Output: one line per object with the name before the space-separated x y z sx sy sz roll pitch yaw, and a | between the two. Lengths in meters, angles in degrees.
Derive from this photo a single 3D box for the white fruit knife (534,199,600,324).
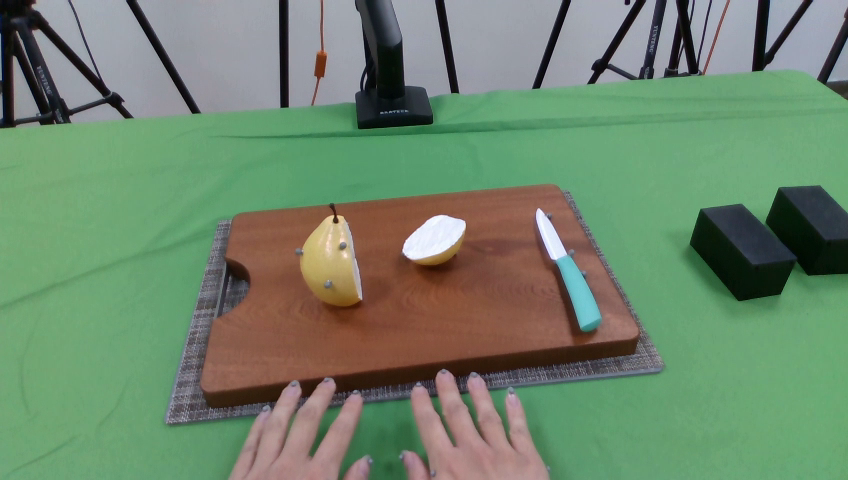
white fruit knife | 0.144 0.013 0.633 0.027 0.016 0.205 7 36 -13

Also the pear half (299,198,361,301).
pear half | -0.093 0.006 0.577 0.056 0.111 0.075 -11 37 -10

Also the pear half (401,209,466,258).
pear half | 0.014 -0.003 0.644 0.070 0.031 0.087 -11 24 13
